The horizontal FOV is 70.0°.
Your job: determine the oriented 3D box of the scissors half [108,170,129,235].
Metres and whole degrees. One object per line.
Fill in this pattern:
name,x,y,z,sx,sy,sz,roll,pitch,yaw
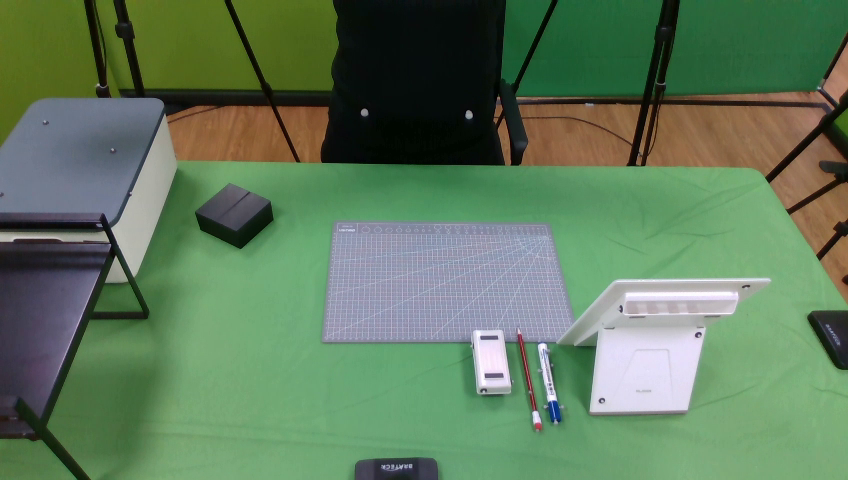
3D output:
scissors half,-0.617,-0.077,1.223,0.040,0.013,0.174,-14,54,-8

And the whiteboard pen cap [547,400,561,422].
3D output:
whiteboard pen cap,0.205,0.269,0.956,0.018,0.018,0.033,0,48,-5

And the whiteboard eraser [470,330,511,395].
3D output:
whiteboard eraser,0.109,0.202,0.998,0.055,0.042,0.112,1,46,-5

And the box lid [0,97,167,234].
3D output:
box lid,-0.635,-0.146,1.086,0.263,0.015,0.369,0,46,-4

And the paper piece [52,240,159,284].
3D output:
paper piece,-0.593,0.037,1.135,0.136,0.009,0.137,3,32,8

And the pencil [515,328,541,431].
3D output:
pencil,0.169,0.224,1.002,0.012,0.012,0.192,-2,46,-6

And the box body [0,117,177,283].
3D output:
box body,-0.640,-0.095,1.140,0.254,0.161,0.361,0,46,-4

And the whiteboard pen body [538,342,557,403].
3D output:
whiteboard pen body,0.205,0.228,0.997,0.017,0.017,0.140,1,46,-3

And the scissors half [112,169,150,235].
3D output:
scissors half,-0.596,-0.078,1.225,0.040,0.013,0.174,7,53,1

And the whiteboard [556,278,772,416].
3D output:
whiteboard,0.347,0.174,0.903,0.217,0.306,0.143,1,65,-4
